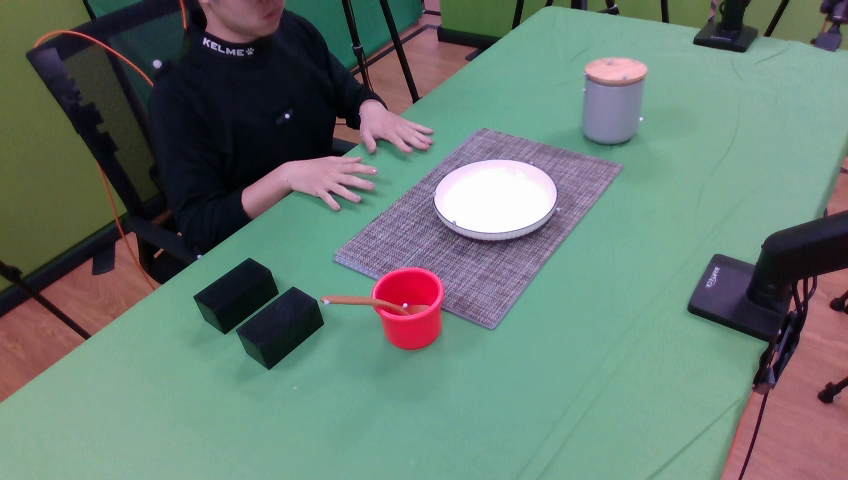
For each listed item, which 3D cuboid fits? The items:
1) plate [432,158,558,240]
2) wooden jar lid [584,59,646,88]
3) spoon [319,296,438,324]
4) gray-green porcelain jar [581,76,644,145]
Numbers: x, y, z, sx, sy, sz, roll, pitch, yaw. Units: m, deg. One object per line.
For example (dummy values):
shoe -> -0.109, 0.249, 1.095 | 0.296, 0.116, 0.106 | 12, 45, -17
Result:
plate -> 0.118, -0.066, 1.013 | 0.207, 0.039, 0.206 | -4, 41, 4
wooden jar lid -> 0.343, -0.298, 1.089 | 0.108, 0.021, 0.108 | -4, 38, 3
spoon -> -0.055, 0.086, 0.784 | 0.195, 0.021, 0.041 | 19, 19, -44
gray-green porcelain jar -> 0.350, -0.251, 1.131 | 0.106, 0.127, 0.105 | -4, 41, 4
